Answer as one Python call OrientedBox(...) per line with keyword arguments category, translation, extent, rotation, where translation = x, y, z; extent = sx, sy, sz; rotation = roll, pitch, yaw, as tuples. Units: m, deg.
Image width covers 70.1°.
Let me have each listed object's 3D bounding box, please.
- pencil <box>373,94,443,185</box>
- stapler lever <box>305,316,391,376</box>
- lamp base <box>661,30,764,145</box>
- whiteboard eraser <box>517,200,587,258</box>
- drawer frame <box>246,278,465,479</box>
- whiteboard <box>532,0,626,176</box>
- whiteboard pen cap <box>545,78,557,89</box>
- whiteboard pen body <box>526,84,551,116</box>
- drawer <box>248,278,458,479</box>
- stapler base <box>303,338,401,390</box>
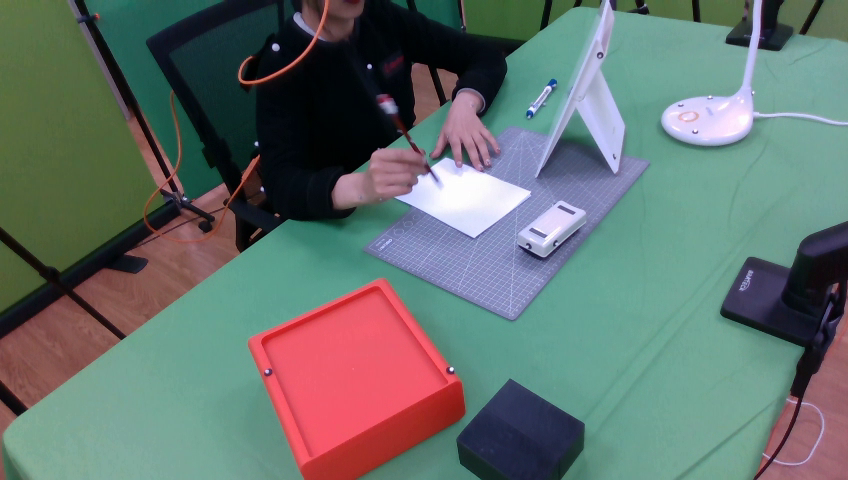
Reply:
OrientedBox(category="pencil", translation=(-0.018, -0.143, 0.893), extent=(0.012, 0.195, 0.012), rotation=(-21, 45, 22))
OrientedBox(category="stapler lever", translation=(-0.099, 0.137, 0.789), extent=(0.118, 0.040, 0.026), rotation=(-23, 45, -12))
OrientedBox(category="lamp base", translation=(0.535, -0.287, 1.096), extent=(0.179, 0.181, 0.159), rotation=(-10, 40, -4))
OrientedBox(category="whiteboard eraser", translation=(0.201, -0.016, 0.943), extent=(0.113, 0.042, 0.055), rotation=(-37, 46, -29))
OrientedBox(category="drawer frame", translation=(-0.088, 0.168, 0.752), extent=(0.202, 0.083, 0.211), rotation=(-24, 43, -18))
OrientedBox(category="whiteboard", translation=(0.321, -0.258, 1.050), extent=(0.144, 0.306, 0.217), rotation=(22, 45, 5))
OrientedBox(category="whiteboard pen cap", translation=(0.280, -0.344, 1.335), extent=(0.018, 0.018, 0.033), rotation=(15, 45, 26))
OrientedBox(category="whiteboard pen body", translation=(0.251, -0.305, 1.298), extent=(0.017, 0.017, 0.141), rotation=(15, 45, 26))
OrientedBox(category="drawer", translation=(-0.092, 0.167, 0.756), extent=(0.195, 0.073, 0.210), rotation=(-23, 43, -18))
OrientedBox(category="stapler base", translation=(-0.096, 0.160, 0.813), extent=(0.131, 0.024, 0.041), rotation=(-17, 43, -17))
